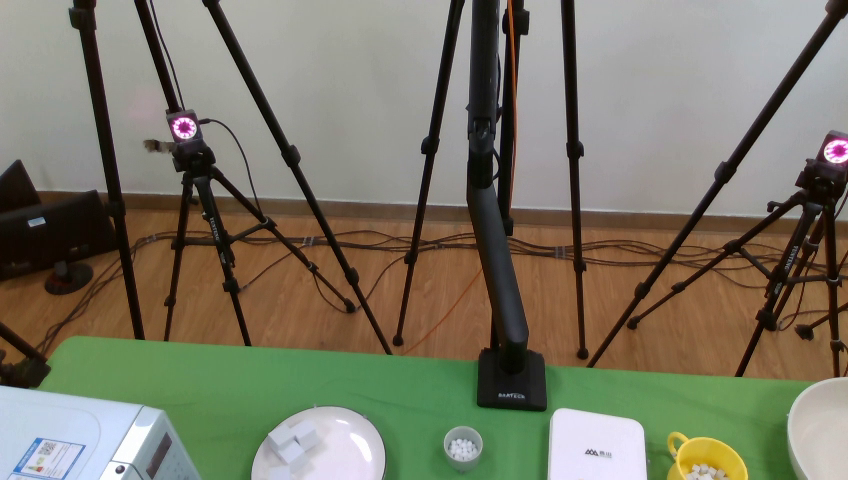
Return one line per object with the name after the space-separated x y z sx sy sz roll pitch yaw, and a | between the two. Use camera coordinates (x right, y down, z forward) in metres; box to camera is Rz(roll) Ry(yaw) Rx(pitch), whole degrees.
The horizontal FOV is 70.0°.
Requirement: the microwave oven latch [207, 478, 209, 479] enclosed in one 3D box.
-0.338 0.388 0.882 0.030 0.030 0.078 7 43 10 | microwave oven latch

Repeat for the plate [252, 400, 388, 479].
-0.159 0.349 0.948 0.208 0.039 0.205 -1 41 1 | plate

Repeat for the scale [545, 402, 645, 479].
0.264 0.349 0.937 0.148 0.032 0.199 6 43 10 | scale

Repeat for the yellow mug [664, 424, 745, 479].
0.412 0.336 0.920 0.100 0.064 0.129 -19 44 -18 | yellow mug

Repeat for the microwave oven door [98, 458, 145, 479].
-0.378 0.455 0.653 0.039 0.246 0.353 5 42 8 | microwave oven door

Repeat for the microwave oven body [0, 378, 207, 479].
-0.515 0.419 0.707 0.325 0.262 0.438 5 43 8 | microwave oven body

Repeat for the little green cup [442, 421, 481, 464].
0.060 0.325 0.967 0.061 0.039 0.061 -1 41 1 | little green cup

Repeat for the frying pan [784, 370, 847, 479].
0.726 0.384 0.826 0.307 0.103 0.482 -15 35 -13 | frying pan
